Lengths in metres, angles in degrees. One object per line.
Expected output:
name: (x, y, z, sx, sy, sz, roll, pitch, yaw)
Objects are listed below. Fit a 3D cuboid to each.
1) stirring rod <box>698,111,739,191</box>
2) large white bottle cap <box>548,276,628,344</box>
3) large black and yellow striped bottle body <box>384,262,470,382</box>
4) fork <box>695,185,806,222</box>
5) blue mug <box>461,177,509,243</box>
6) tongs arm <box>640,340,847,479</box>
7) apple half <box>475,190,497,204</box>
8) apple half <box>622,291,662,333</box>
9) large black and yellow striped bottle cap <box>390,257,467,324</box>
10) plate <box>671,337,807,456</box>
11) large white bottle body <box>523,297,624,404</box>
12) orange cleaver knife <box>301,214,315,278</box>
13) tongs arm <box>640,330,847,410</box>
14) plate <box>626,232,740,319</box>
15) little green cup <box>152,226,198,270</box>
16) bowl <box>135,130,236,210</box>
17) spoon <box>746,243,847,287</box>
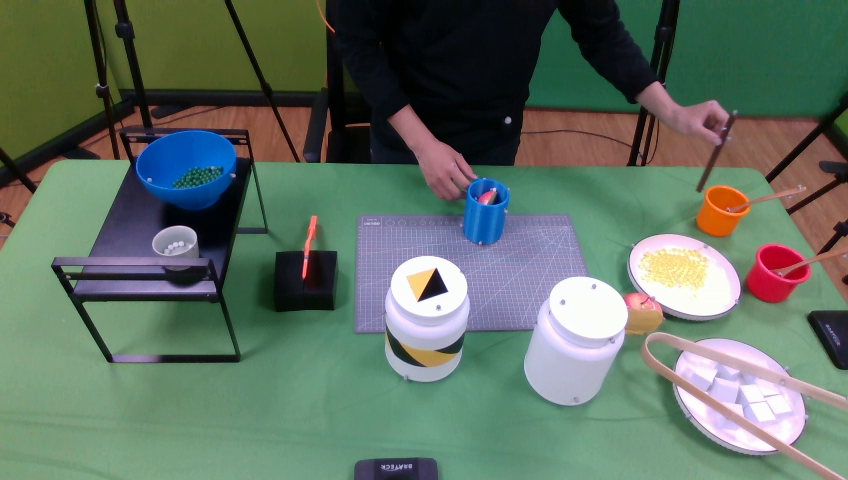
stirring rod: (0.565, -0.168, 1.167, 0.006, 0.177, 0.014, -11, 43, -20)
large white bottle cap: (0.240, 0.100, 0.890, 0.115, 0.018, 0.114, 3, 47, -3)
large black and yellow striped bottle body: (0.002, 0.127, 0.962, 0.131, 0.185, 0.130, 2, 48, -2)
fork: (0.658, -0.074, 1.229, 0.207, 0.019, 0.028, -23, 34, 37)
blue mug: (0.115, -0.070, 1.211, 0.082, 0.106, 0.115, -10, 48, -13)
tongs arm: (0.500, 0.277, 0.919, 0.386, 0.028, 0.028, 34, 59, 22)
apple half: (0.111, -0.067, 1.199, 0.032, 0.081, 0.081, 29, 51, 13)
apple half: (0.372, 0.124, 1.073, 0.081, 0.075, 0.053, 0, 42, 1)
large black and yellow striped bottle cap: (0.007, 0.072, 0.898, 0.115, 0.019, 0.114, 2, 47, -2)
plate: (0.504, 0.254, 0.984, 0.208, 0.039, 0.206, 2, 46, -2)
large white bottle body: (0.235, 0.159, 0.952, 0.131, 0.185, 0.130, 2, 47, -2)
orange cleaver knife: (-0.218, 0.007, 1.131, 0.012, 0.077, 0.210, 7, 19, -9)
tongs arm: (0.543, 0.225, 0.969, 0.384, 0.026, 0.050, 22, 52, 13)
plate: (0.488, 0.071, 1.157, 0.209, 0.038, 0.208, 3, 46, -3)
little green cup: (-0.364, 0.013, 0.894, 0.061, 0.039, 0.061, 3, 46, -3)
bowl: (-0.375, -0.102, 0.978, 0.151, 0.077, 0.150, 2, 46, -2)
spoon: (0.702, 0.044, 1.126, 0.194, 0.022, 0.041, -29, 38, 30)
